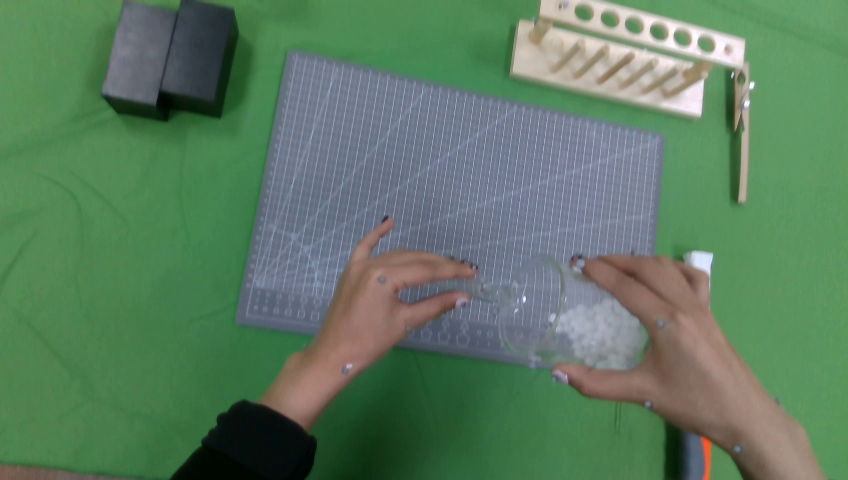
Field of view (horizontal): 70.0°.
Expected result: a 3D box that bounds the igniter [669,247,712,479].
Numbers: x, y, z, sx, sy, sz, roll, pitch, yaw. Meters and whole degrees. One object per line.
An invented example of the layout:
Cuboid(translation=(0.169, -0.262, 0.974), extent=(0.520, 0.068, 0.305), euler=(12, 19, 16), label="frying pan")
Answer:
Cuboid(translation=(0.307, 0.145, 0.695), extent=(0.057, 0.025, 0.275), euler=(8, 81, -21), label="igniter")

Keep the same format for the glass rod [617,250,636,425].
Cuboid(translation=(0.230, 0.109, 0.689), extent=(0.008, 0.008, 0.199), euler=(9, 81, -11), label="glass rod")

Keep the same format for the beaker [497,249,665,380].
Cuboid(translation=(0.113, 0.057, 0.438), extent=(0.101, 0.083, 0.074), euler=(20, 85, -21), label="beaker")

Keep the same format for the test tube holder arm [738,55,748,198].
Cuboid(translation=(0.394, -0.141, 0.749), extent=(0.013, 0.015, 0.178), euler=(-2, 82, 25), label="test tube holder arm")

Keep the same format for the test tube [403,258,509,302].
Cuboid(translation=(0.022, 0.032, 0.520), extent=(0.017, 0.149, 0.017), euler=(-5, 99, -30), label="test tube")

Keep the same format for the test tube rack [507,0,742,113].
Cuboid(translation=(0.226, -0.215, 0.691), extent=(0.243, 0.085, 0.066), euler=(10, 81, -10), label="test tube rack")

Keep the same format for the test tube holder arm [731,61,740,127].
Cuboid(translation=(0.390, -0.185, 0.756), extent=(0.010, 0.015, 0.087), euler=(-1, 83, 25), label="test tube holder arm")
